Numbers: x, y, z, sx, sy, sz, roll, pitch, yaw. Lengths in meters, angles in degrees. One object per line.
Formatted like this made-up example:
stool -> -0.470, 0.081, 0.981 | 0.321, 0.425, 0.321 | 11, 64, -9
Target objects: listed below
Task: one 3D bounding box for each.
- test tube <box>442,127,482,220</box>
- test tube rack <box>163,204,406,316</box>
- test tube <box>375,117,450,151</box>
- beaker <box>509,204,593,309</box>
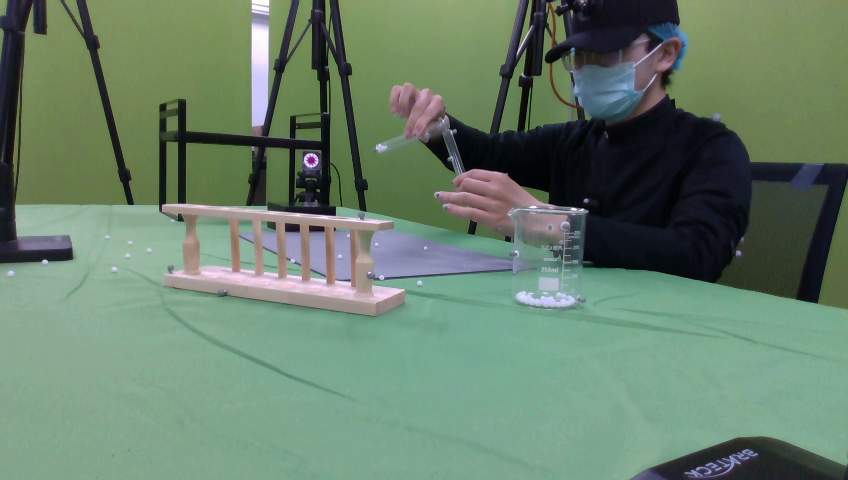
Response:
test tube -> 0.059, -0.101, 0.917 | 0.017, 0.150, 0.017 | -19, -4, -1
test tube rack -> -0.141, 0.013, 0.601 | 0.241, 0.085, 0.067 | 5, 8, 21
test tube -> -0.021, -0.168, 0.969 | 0.149, 0.017, 0.017 | -13, -3, 36
beaker -> 0.125, 0.015, 0.613 | 0.084, 0.100, 0.074 | 1, 7, -5
